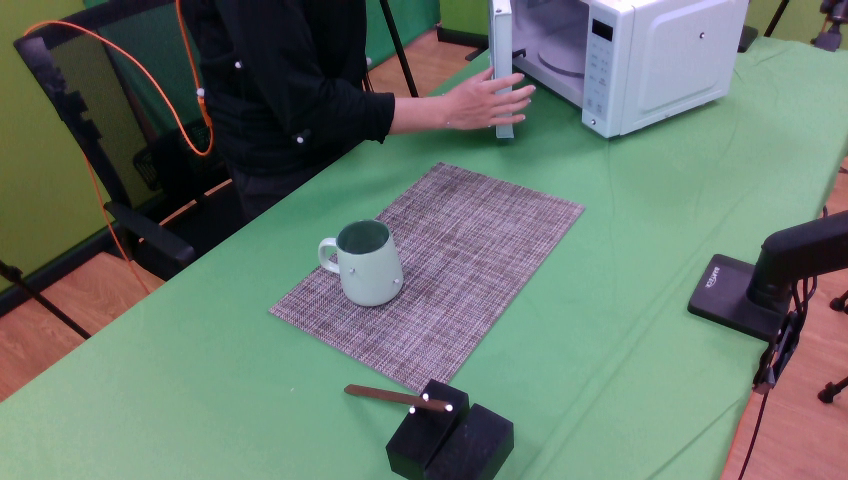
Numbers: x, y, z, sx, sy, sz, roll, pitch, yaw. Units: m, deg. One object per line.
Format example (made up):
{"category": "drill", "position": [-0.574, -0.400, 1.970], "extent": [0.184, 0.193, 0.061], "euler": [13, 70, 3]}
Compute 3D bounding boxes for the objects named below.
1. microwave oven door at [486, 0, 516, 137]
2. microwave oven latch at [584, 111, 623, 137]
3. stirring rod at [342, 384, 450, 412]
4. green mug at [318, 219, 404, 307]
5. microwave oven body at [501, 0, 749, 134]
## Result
{"category": "microwave oven door", "position": [0.153, -0.404, 1.222], "extent": [0.039, 0.245, 0.354], "euler": [-4, 41, 6]}
{"category": "microwave oven latch", "position": [0.337, -0.222, 1.142], "extent": [0.030, 0.029, 0.078], "euler": [-21, 42, -14]}
{"category": "stirring rod", "position": [-0.038, 0.186, 0.714], "extent": [0.175, 0.006, 0.014], "euler": [-3, 22, 43]}
{"category": "green mug", "position": [-0.096, 0.032, 0.876], "extent": [0.125, 0.105, 0.092], "euler": [8, 43, 17]}
{"category": "microwave oven body", "position": [0.382, -0.445, 1.246], "extent": [0.327, 0.261, 0.437], "euler": [-22, 42, -16]}
